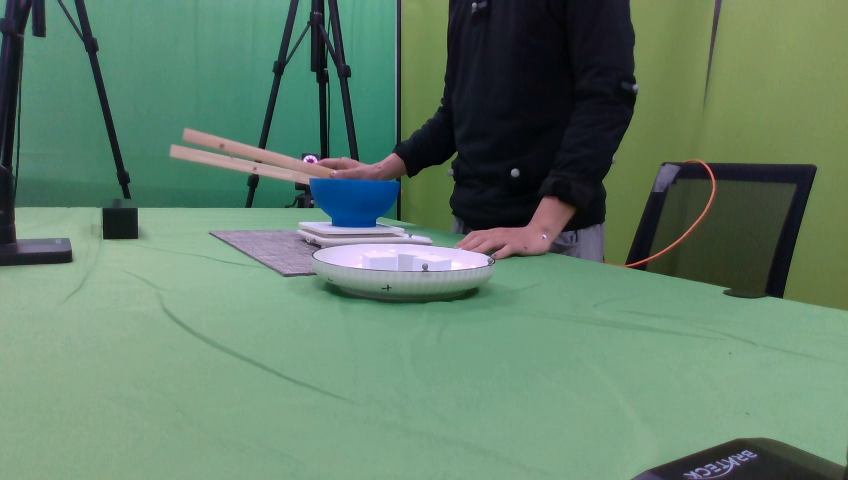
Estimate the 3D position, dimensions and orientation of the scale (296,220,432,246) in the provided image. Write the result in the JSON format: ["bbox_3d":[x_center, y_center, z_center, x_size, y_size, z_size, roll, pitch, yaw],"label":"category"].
[{"bbox_3d":[-0.101,-0.012,1.017,0.202,0.031,0.148,-1,8,-30],"label":"scale"}]

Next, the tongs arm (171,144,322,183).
[{"bbox_3d":[-0.327,-0.153,1.280,0.387,0.026,0.050,10,-12,-28],"label":"tongs arm"}]

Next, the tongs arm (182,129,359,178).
[{"bbox_3d":[-0.289,-0.159,1.218,0.390,0.027,0.028,12,-16,-38],"label":"tongs arm"}]

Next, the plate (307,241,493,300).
[{"bbox_3d":[-0.027,0.034,0.684,0.208,0.039,0.207,2,7,0],"label":"plate"}]

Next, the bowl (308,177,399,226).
[{"bbox_3d":[-0.116,-0.064,1.001,0.151,0.077,0.151,2,6,0],"label":"bowl"}]
